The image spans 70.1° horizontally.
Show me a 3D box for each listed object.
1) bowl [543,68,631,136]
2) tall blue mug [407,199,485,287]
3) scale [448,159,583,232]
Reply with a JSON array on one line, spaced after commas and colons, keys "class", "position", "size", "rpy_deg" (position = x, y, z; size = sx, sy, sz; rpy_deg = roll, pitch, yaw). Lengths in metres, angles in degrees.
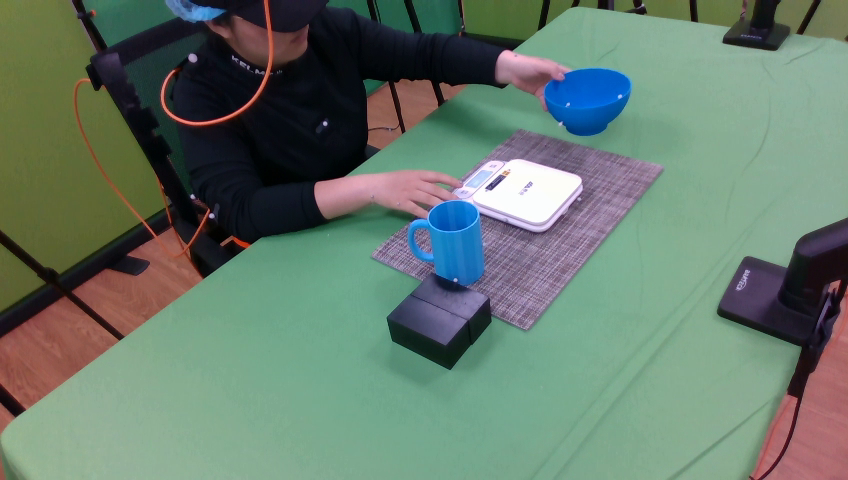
[{"class": "bowl", "position": [0.290, -0.238, 1.081], "size": [0.151, 0.077, 0.150], "rpy_deg": [-7, 39, 6]}, {"class": "tall blue mug", "position": [0.034, 0.008, 0.892], "size": [0.107, 0.108, 0.077], "rpy_deg": [-13, 41, -5]}, {"class": "scale", "position": [0.156, -0.085, 1.040], "size": [0.199, 0.032, 0.149], "rpy_deg": [22, 49, 32]}]
